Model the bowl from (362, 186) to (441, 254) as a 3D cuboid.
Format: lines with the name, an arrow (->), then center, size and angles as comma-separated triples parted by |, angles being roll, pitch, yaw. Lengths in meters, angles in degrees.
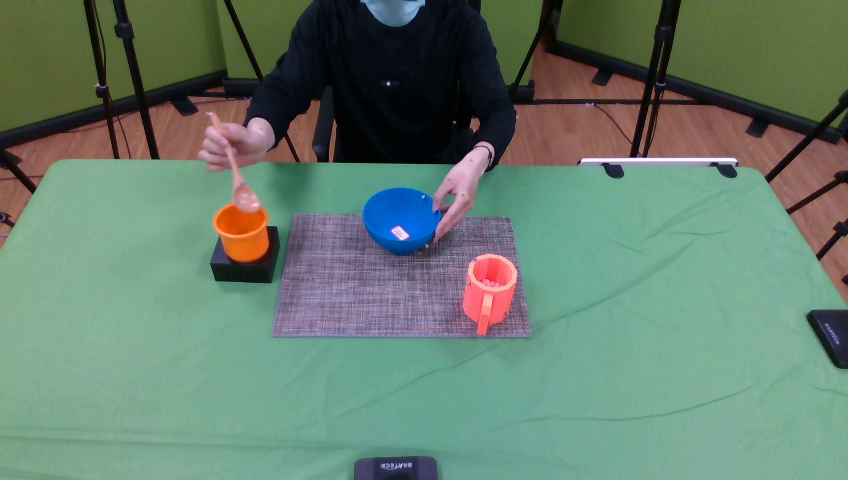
bowl -> -0.044, -0.026, 1.173 | 0.151, 0.077, 0.150 | 2, 46, -2

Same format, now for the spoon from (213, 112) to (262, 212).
spoon -> -0.323, -0.135, 1.039 | 0.042, 0.021, 0.193 | -16, 83, -38

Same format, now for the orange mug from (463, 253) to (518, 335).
orange mug -> 0.112, 0.098, 1.050 | 0.083, 0.101, 0.125 | 10, 41, 6
